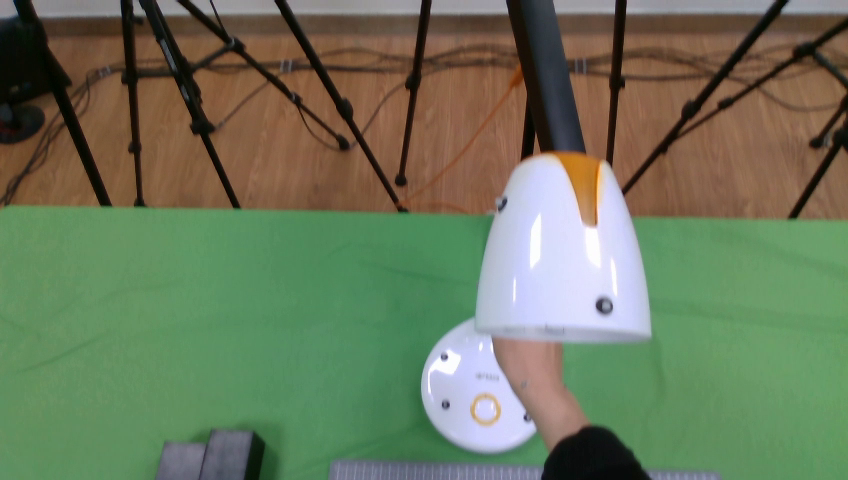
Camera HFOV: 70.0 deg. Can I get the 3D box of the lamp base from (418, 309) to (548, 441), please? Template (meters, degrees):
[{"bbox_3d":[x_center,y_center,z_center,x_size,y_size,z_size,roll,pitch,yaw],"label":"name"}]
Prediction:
[{"bbox_3d":[0.069,0.118,0.693,0.160,0.182,0.177,-4,55,0],"label":"lamp base"}]

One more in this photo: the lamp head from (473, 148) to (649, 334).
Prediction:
[{"bbox_3d":[0.088,0.003,0.406,0.112,0.113,0.122,1,73,3],"label":"lamp head"}]
